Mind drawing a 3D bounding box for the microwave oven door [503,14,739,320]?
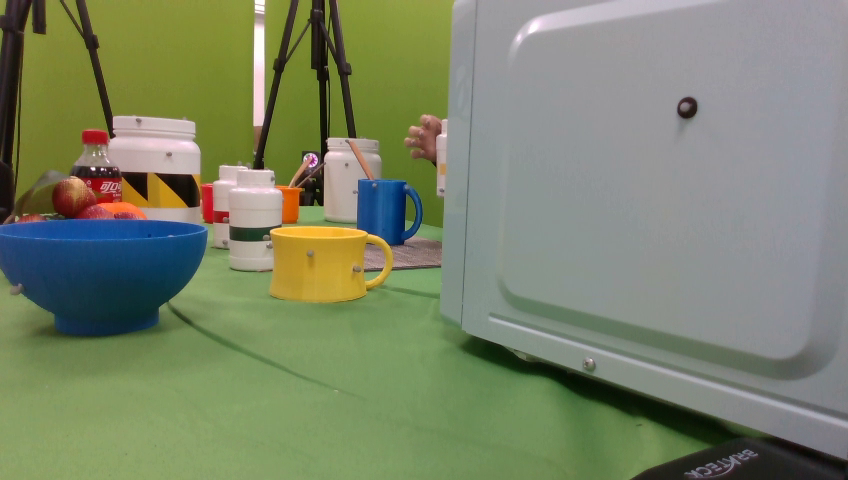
[{"bbox_3d":[0.217,-0.065,0.601,0.358,0.243,0.039,-4,10,-41],"label":"microwave oven door"}]

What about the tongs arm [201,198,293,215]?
[{"bbox_3d":[-0.423,-0.084,1.472,0.050,0.026,0.386,2,6,21],"label":"tongs arm"}]

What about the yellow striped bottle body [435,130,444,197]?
[{"bbox_3d":[0.049,-0.129,0.957,0.063,0.120,0.063,-1,10,1],"label":"yellow striped bottle body"}]

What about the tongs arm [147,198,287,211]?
[{"bbox_3d":[-0.504,-0.091,1.513,0.028,0.028,0.389,0,4,37],"label":"tongs arm"}]

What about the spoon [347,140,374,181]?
[{"bbox_3d":[-0.089,-0.094,1.027,0.042,0.193,0.021,-4,-26,-46],"label":"spoon"}]

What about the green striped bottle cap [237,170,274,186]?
[{"bbox_3d":[-0.205,-0.075,0.738,0.044,0.020,0.044,2,7,0],"label":"green striped bottle cap"}]

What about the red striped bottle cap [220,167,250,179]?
[{"bbox_3d":[-0.281,-0.100,0.901,0.044,0.017,0.044,-1,5,0],"label":"red striped bottle cap"}]

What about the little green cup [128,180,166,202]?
[{"bbox_3d":[-0.485,-0.087,1.062,0.061,0.038,0.061,-1,6,0],"label":"little green cup"}]

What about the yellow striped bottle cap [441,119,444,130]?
[{"bbox_3d":[0.049,-0.180,0.949,0.044,0.018,0.044,0,11,0],"label":"yellow striped bottle cap"}]

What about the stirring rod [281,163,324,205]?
[{"bbox_3d":[-0.278,-0.105,1.293,0.176,0.006,0.014,-47,24,-18],"label":"stirring rod"}]

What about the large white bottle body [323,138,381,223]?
[{"bbox_3d":[-0.163,-0.135,1.368,0.131,0.184,0.130,2,7,0],"label":"large white bottle body"}]

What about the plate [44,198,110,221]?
[{"bbox_3d":[-0.617,-0.056,1.179,0.209,0.038,0.209,3,7,0],"label":"plate"}]

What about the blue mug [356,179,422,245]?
[{"bbox_3d":[-0.057,-0.047,1.006,0.116,0.106,0.082,5,8,21],"label":"blue mug"}]

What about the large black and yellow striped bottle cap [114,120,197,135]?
[{"bbox_3d":[-0.407,-0.171,0.920,0.115,0.019,0.115,2,9,0],"label":"large black and yellow striped bottle cap"}]

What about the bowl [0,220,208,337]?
[{"bbox_3d":[-0.251,0.029,0.479,0.151,0.077,0.151,2,7,0],"label":"bowl"}]

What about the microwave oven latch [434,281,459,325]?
[{"bbox_3d":[0.044,0.045,0.470,0.079,0.029,0.030,-2,8,-39],"label":"microwave oven latch"}]

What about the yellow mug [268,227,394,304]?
[{"bbox_3d":[-0.094,0.023,0.629,0.131,0.064,0.099,0,7,-22],"label":"yellow mug"}]

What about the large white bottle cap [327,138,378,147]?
[{"bbox_3d":[-0.160,-0.218,1.357,0.115,0.018,0.115,2,8,0],"label":"large white bottle cap"}]

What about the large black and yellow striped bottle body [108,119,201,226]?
[{"bbox_3d":[-0.412,-0.088,0.930,0.131,0.184,0.130,3,7,0],"label":"large black and yellow striped bottle body"}]

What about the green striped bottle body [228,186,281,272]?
[{"bbox_3d":[-0.208,-0.023,0.745,0.063,0.119,0.063,2,7,0],"label":"green striped bottle body"}]

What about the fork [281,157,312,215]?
[{"bbox_3d":[-0.289,-0.116,1.321,0.028,0.019,0.207,6,51,19],"label":"fork"}]

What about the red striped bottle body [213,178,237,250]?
[{"bbox_3d":[-0.284,-0.048,0.909,0.063,0.119,0.063,3,10,0],"label":"red striped bottle body"}]

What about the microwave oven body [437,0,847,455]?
[{"bbox_3d":[0.279,-0.040,0.464,0.444,0.260,0.324,-3,9,-41],"label":"microwave oven body"}]
